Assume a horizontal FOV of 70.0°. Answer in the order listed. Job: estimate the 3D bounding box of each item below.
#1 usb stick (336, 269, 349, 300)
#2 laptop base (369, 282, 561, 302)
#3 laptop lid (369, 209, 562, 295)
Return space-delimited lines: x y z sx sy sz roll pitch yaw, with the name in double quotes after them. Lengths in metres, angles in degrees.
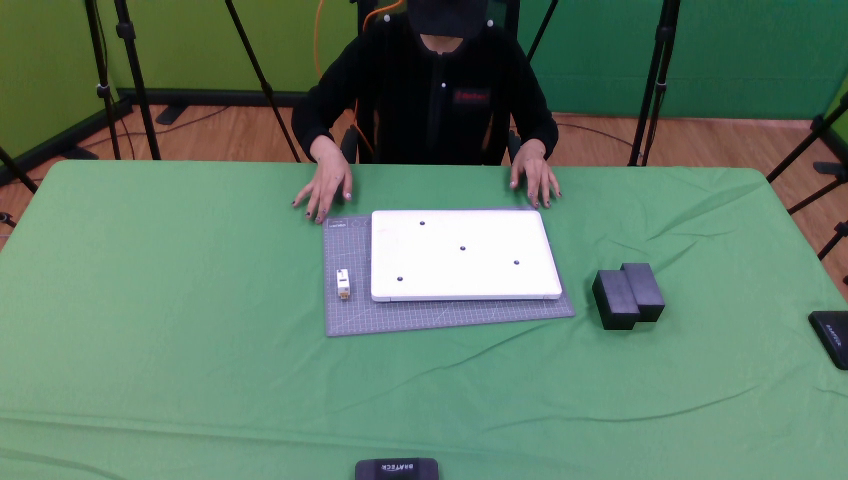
-0.148 0.082 1.101 0.021 0.027 0.059 -4 50 -9 "usb stick"
0.072 0.028 1.179 0.355 0.023 0.234 0 43 -5 "laptop base"
0.073 0.018 1.172 0.357 0.013 0.240 1 44 -4 "laptop lid"
